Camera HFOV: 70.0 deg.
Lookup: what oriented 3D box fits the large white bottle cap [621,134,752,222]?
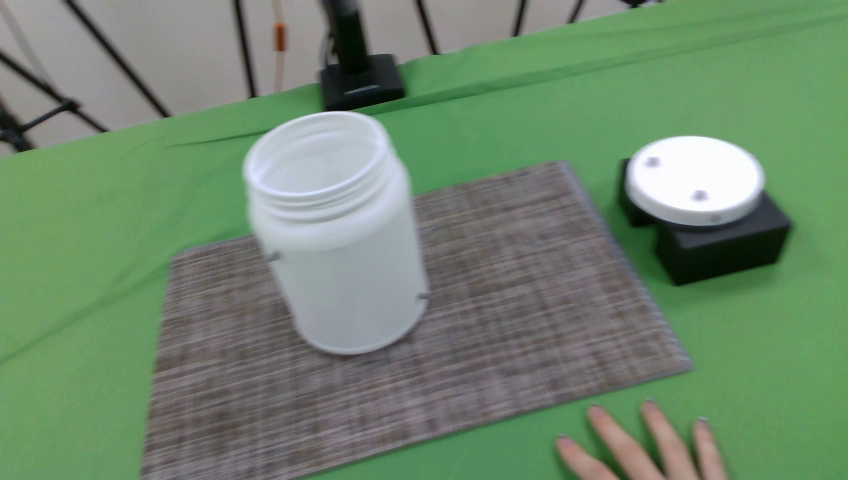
[{"bbox_3d":[0.246,-0.061,0.571,0.115,0.018,0.113,-5,44,6],"label":"large white bottle cap"}]

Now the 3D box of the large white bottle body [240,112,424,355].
[{"bbox_3d":[-0.075,-0.003,0.523,0.130,0.186,0.129,-5,44,5],"label":"large white bottle body"}]
